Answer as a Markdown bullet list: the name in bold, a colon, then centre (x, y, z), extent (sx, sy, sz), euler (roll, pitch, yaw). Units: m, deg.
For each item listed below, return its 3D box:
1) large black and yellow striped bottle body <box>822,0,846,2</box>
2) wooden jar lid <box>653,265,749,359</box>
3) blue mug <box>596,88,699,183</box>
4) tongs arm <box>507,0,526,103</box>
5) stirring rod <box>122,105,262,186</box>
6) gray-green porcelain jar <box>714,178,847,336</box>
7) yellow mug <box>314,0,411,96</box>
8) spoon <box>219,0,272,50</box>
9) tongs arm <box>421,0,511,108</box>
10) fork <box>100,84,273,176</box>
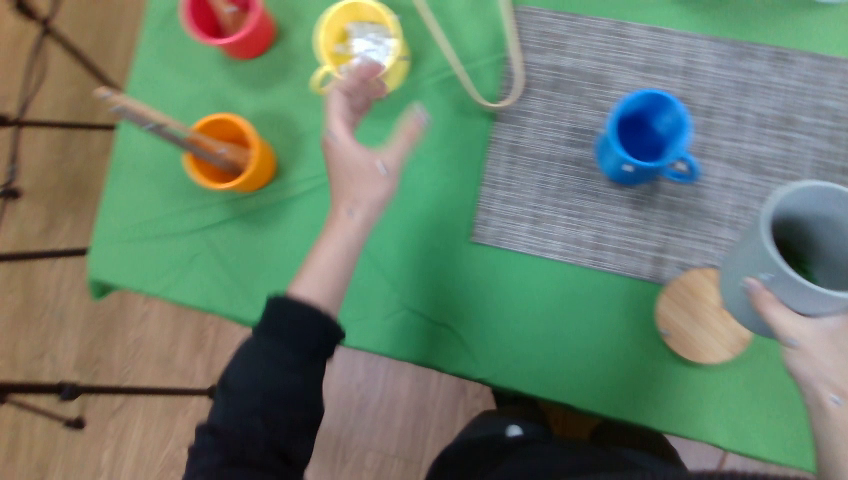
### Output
- **large black and yellow striped bottle body**: centre (0.475, -0.349, 0.630), extent (0.130, 0.184, 0.130), euler (-1, 86, 7)
- **wooden jar lid**: centre (0.320, 0.083, 0.702), extent (0.108, 0.021, 0.108), euler (0, 90, 9)
- **blue mug**: centre (0.254, -0.103, 0.676), extent (0.116, 0.106, 0.082), euler (38, 91, 8)
- **tongs arm**: centre (0.080, -0.360, 0.734), extent (0.028, 0.028, 0.387), euler (-12, 92, -3)
- **stirring rod**: centre (-0.271, -0.109, 0.721), extent (0.006, 0.178, 0.014), euler (1, 67, 50)
- **gray-green porcelain jar**: centre (0.329, 0.023, 0.542), extent (0.106, 0.127, 0.105), euler (-1, 63, 3)
- **yellow mug**: centre (-0.082, -0.226, 0.746), extent (0.131, 0.064, 0.099), euler (-39, 83, 4)
- **spoon**: centre (-0.260, -0.311, 0.733), extent (0.041, 0.021, 0.196), euler (-43, 126, 1)
- **tongs arm**: centre (0.001, -0.330, 0.738), extent (0.051, 0.026, 0.384), euler (-26, 91, 1)
- **fork**: centre (-0.275, -0.129, 0.719), extent (0.209, 0.018, 0.028), euler (26, 88, -36)
